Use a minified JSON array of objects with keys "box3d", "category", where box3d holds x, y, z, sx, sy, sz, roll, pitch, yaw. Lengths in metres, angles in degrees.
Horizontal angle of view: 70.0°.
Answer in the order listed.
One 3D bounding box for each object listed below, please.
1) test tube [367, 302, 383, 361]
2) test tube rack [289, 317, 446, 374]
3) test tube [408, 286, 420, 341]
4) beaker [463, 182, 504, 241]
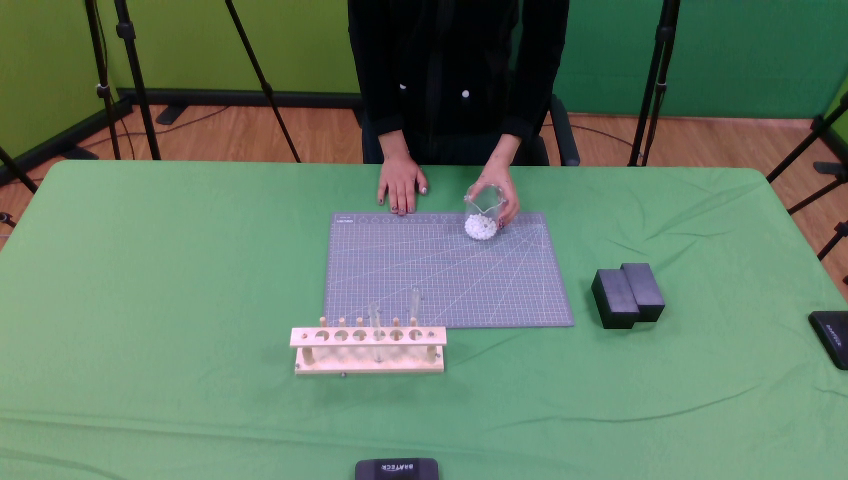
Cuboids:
[{"box3d":[-0.075,0.145,0.941,0.017,0.151,0.017,0,49,0],"category":"test tube"},{"box3d":[-0.089,0.167,0.988,0.242,0.085,0.066,0,46,-4],"category":"test tube rack"},{"box3d":[-0.017,0.123,0.974,0.017,0.151,0.017,2,48,-2],"category":"test tube"},{"box3d":[0.115,-0.052,1.202,0.074,0.101,0.083,7,47,3],"category":"beaker"}]
